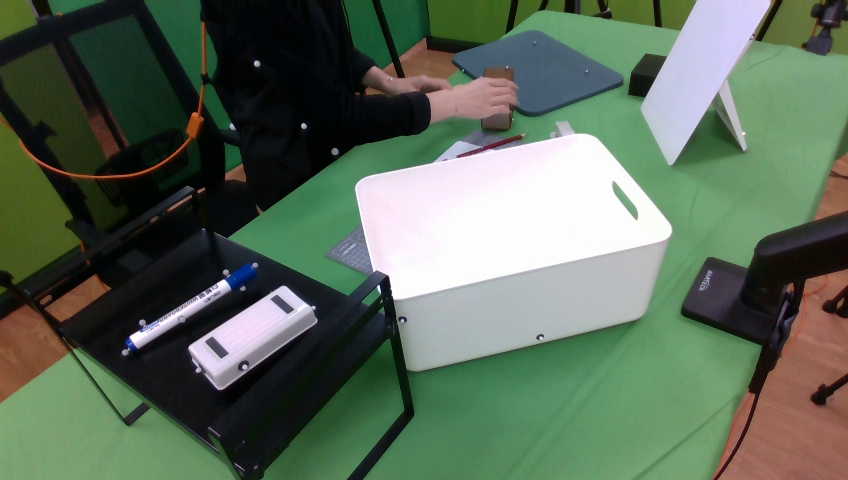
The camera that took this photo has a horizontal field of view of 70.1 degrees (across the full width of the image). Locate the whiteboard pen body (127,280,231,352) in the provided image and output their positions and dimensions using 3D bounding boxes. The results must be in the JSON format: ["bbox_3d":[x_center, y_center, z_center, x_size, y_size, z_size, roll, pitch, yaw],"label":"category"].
[{"bbox_3d":[-0.248,0.072,0.645,0.141,0.017,0.017,-35,47,-23],"label":"whiteboard pen body"}]

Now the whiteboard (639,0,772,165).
[{"bbox_3d":[0.543,-0.298,1.076,0.144,0.305,0.216,12,40,-7],"label":"whiteboard"}]

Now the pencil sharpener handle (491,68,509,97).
[{"bbox_3d":[0.156,-0.333,1.258,0.036,0.068,0.030,13,43,3],"label":"pencil sharpener handle"}]

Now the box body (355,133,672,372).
[{"bbox_3d":[0.108,0.013,0.834,0.365,0.161,0.252,-12,41,-6],"label":"box body"}]

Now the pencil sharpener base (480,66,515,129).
[{"bbox_3d":[0.151,-0.290,1.228,0.061,0.107,0.076,3,41,13],"label":"pencil sharpener base"}]

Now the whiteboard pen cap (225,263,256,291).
[{"bbox_3d":[-0.204,0.041,0.668,0.033,0.018,0.018,-36,48,-22],"label":"whiteboard pen cap"}]

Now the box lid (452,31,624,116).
[{"bbox_3d":[0.255,-0.401,1.419,0.264,0.015,0.368,-22,43,-17],"label":"box lid"}]

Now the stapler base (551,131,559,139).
[{"bbox_3d":[0.268,-0.178,1.142,0.041,0.024,0.130,0,37,3],"label":"stapler base"}]

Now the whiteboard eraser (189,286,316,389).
[{"bbox_3d":[-0.166,0.096,0.593,0.113,0.042,0.055,-36,47,-29],"label":"whiteboard eraser"}]

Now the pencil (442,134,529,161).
[{"bbox_3d":[0.123,-0.180,1.175,0.195,0.012,0.012,-20,42,-17],"label":"pencil"}]

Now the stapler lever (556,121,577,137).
[{"bbox_3d":[0.266,-0.198,1.128,0.027,0.040,0.117,0,38,3],"label":"stapler lever"}]
